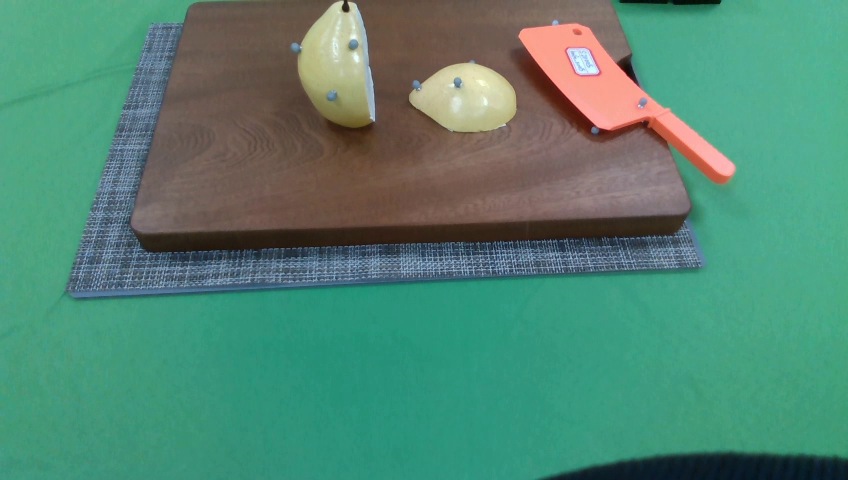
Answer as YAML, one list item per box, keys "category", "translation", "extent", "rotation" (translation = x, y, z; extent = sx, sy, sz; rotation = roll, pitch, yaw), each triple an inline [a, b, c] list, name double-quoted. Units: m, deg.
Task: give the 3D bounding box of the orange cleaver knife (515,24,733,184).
- category: "orange cleaver knife"
  translation: [0.156, -0.115, 0.494]
  extent: [0.077, 0.012, 0.209]
  rotation: [-25, 62, -23]

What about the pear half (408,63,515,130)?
- category: "pear half"
  translation: [0.031, -0.122, 0.488]
  extent: [0.088, 0.031, 0.070]
  rotation: [5, 49, -3]

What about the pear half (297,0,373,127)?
- category: "pear half"
  translation: [-0.067, -0.137, 0.444]
  extent: [0.056, 0.111, 0.075]
  rotation: [-7, 51, -7]
